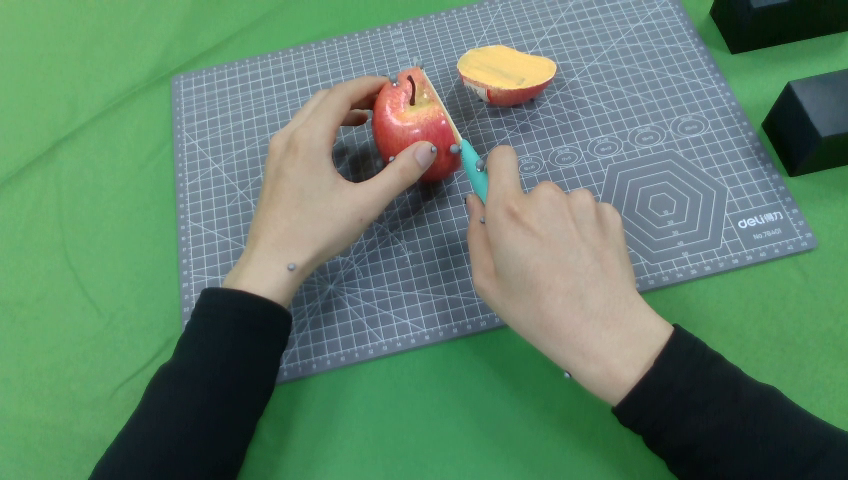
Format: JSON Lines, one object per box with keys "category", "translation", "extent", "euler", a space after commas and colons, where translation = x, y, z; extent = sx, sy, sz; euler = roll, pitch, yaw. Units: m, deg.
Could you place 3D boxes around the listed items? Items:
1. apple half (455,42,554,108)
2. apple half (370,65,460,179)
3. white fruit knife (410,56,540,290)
{"category": "apple half", "translation": [0.061, -0.124, 0.483], "extent": [0.081, 0.033, 0.080], "euler": [0, 44, 1]}
{"category": "apple half", "translation": [-0.012, -0.080, 0.450], "extent": [0.053, 0.075, 0.080], "euler": [-26, 69, -2]}
{"category": "white fruit knife", "translation": [0.029, -0.057, 0.422], "extent": [0.016, 0.027, 0.205], "euler": [-20, 63, -11]}
